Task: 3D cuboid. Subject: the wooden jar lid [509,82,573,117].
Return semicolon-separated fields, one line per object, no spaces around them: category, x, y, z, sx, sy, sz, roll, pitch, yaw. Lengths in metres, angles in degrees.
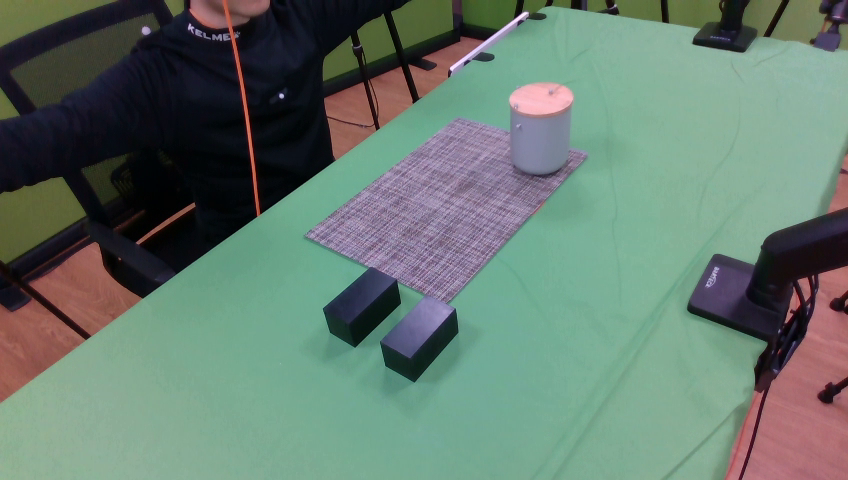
wooden jar lid;0.200;-0.236;1.033;0.108;0.021;0.108;-6;42;6

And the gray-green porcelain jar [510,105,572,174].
gray-green porcelain jar;0.206;-0.190;1.073;0.106;0.127;0.105;-4;41;4
